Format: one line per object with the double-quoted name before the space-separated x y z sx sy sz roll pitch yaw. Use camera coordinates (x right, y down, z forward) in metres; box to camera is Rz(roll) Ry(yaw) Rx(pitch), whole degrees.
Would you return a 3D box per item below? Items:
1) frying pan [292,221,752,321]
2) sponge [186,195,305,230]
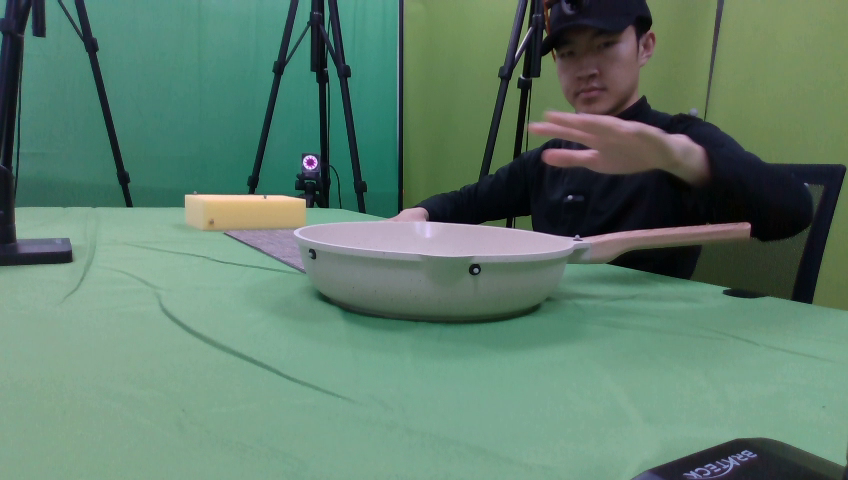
"frying pan" 0.112 0.012 0.644 0.488 0.102 0.306 -6 8 -2
"sponge" -0.358 -0.057 1.219 0.208 0.061 0.117 -3 8 -37
